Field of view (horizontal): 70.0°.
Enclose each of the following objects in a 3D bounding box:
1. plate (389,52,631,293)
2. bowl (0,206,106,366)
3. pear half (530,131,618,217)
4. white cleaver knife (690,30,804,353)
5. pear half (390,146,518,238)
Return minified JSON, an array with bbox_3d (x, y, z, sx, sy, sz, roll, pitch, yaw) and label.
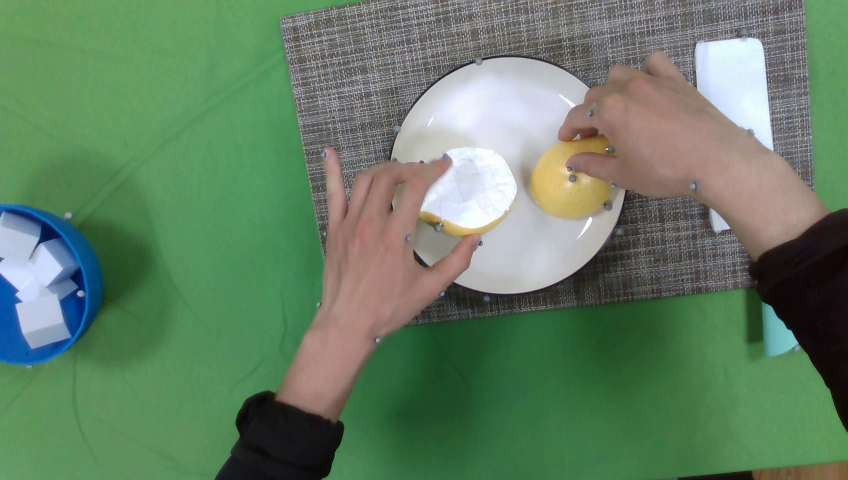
[{"bbox_3d":[0.074,-0.057,0.539,0.207,0.039,0.208,1,100,6],"label":"plate"},{"bbox_3d":[-0.367,0.037,0.583,0.151,0.076,0.152,1,100,6],"label":"bowl"},{"bbox_3d":[0.131,-0.052,0.515,0.071,0.031,0.088,28,128,-13],"label":"pear half"},{"bbox_3d":[0.283,-0.039,0.533,0.066,0.021,0.286,-10,95,13],"label":"white cleaver knife"},{"bbox_3d":[0.019,-0.032,0.511,0.110,0.056,0.076,-17,73,-18],"label":"pear half"}]
